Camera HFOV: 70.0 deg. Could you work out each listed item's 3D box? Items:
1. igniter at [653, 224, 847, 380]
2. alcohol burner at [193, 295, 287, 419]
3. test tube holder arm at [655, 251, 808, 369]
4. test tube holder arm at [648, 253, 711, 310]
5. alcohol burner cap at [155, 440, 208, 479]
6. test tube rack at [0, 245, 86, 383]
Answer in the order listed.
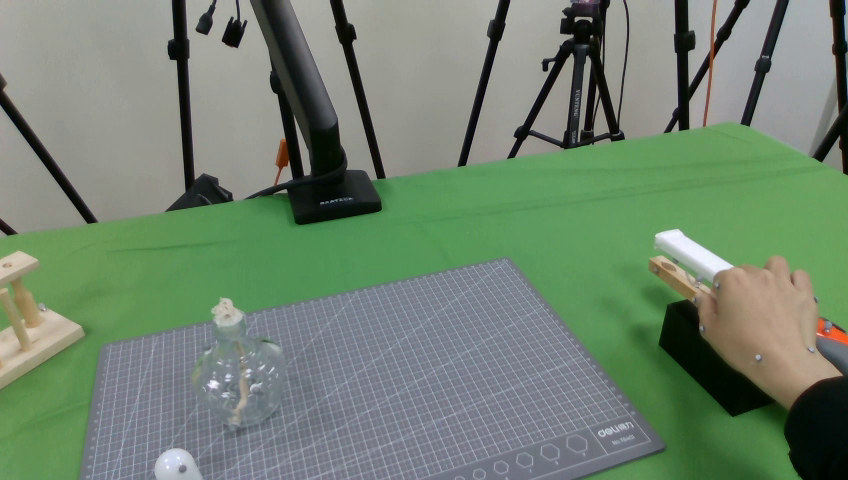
[{"bbox_3d":[0.308,0.053,0.551,0.057,0.025,0.273,-12,31,-15],"label":"igniter"},{"bbox_3d":[-0.156,0.092,0.508,0.078,0.120,0.077,0,34,0],"label":"alcohol burner"},{"bbox_3d":[0.262,0.055,0.535,0.013,0.015,0.176,-21,31,-11],"label":"test tube holder arm"},{"bbox_3d":[0.242,0.038,0.571,0.010,0.015,0.087,-21,31,-10],"label":"test tube holder arm"},{"bbox_3d":[-0.183,0.170,0.454,0.034,0.048,0.033,0,33,0],"label":"alcohol burner cap"},{"bbox_3d":[-0.440,0.104,0.531,0.066,0.086,0.242,18,37,26],"label":"test tube rack"}]
